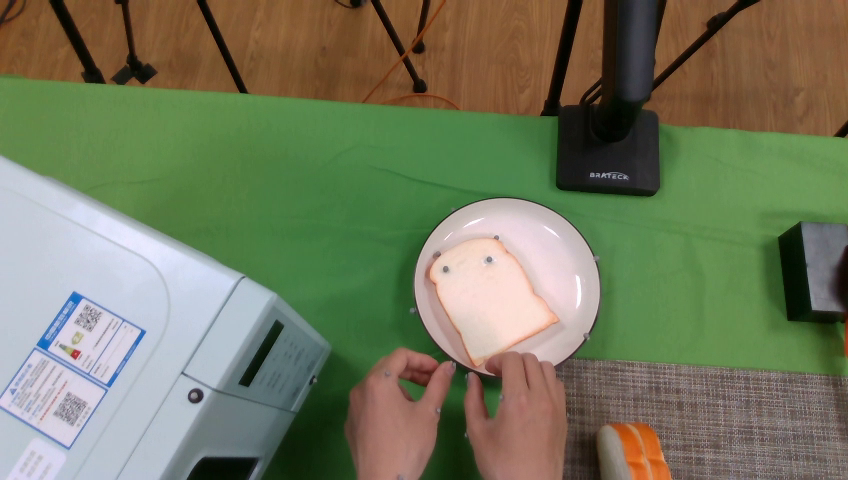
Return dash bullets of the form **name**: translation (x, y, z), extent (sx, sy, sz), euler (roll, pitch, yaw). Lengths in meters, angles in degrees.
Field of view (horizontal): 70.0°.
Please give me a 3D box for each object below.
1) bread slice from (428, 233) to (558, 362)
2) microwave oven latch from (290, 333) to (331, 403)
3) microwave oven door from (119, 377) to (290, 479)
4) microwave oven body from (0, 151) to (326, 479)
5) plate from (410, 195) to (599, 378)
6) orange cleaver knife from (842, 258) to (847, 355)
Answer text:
- **bread slice**: translation (0.066, 0.058, 0.676), extent (0.107, 0.018, 0.133), euler (-30, 72, -11)
- **microwave oven latch**: translation (-0.128, 0.131, 0.640), extent (0.030, 0.030, 0.079), euler (27, 75, 10)
- **microwave oven door**: translation (-0.235, 0.282, 0.485), extent (0.039, 0.245, 0.354), euler (25, 74, 9)
- **microwave oven body**: translation (-0.344, 0.189, 0.526), extent (0.325, 0.262, 0.440), euler (25, 75, 9)
- **plate**: translation (0.089, 0.051, 0.679), extent (0.207, 0.039, 0.206), euler (0, 71, 1)
- **orange cleaver knife**: translation (0.456, 0.100, 0.627), extent (0.012, 0.077, 0.211), euler (0, 92, 5)
